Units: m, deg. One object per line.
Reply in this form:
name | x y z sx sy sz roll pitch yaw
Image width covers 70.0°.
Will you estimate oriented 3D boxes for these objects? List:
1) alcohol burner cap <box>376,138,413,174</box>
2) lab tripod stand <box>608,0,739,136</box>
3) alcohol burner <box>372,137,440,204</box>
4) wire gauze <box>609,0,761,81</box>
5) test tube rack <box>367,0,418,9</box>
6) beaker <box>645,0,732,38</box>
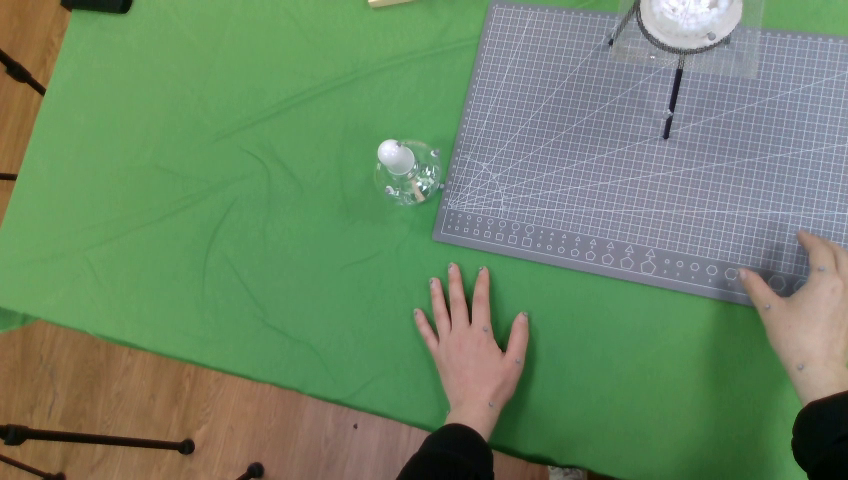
alcohol burner cap | -0.033 -0.089 0.626 0.034 0.048 0.034 -2 82 13
lab tripod stand | 0.251 -0.196 0.604 0.148 0.132 0.148 -2 80 12
alcohol burner | -0.024 -0.081 0.661 0.078 0.120 0.077 -3 77 12
wire gauze | 0.237 -0.209 0.542 0.124 0.011 0.121 11 86 12
test tube rack | 0.038 -0.345 0.711 0.242 0.086 0.066 -6 78 12
beaker | 0.220 -0.220 0.497 0.083 0.101 0.074 25 86 17
